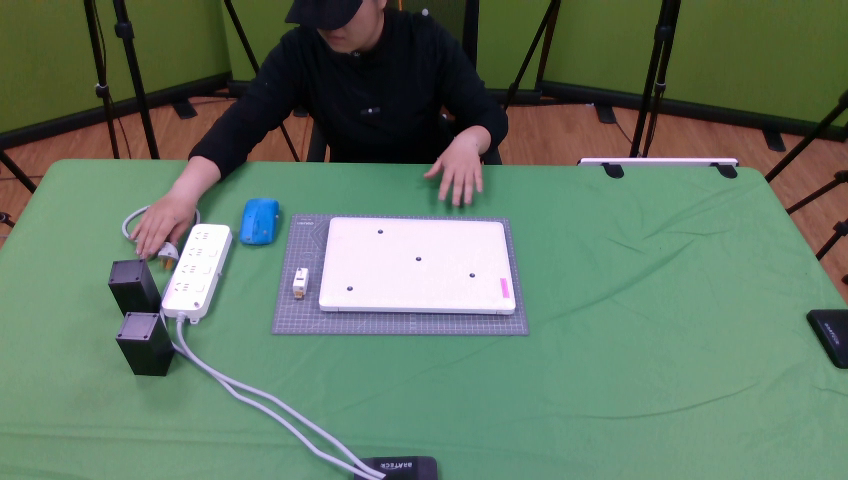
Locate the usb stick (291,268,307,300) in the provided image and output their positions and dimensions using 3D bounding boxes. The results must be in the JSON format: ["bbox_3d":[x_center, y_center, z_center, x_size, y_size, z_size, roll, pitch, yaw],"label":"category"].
[{"bbox_3d":[-0.227,0.081,1.094,0.021,0.027,0.059,4,48,-2],"label":"usb stick"}]

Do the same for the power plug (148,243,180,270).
[{"bbox_3d":[-0.486,0.033,1.133,0.072,0.035,0.052,-10,64,34],"label":"power plug"}]

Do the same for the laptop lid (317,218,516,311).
[{"bbox_3d":[-0.013,0.040,1.143,0.357,0.013,0.240,3,43,-2],"label":"laptop lid"}]

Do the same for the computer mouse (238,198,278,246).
[{"bbox_3d":[-0.328,-0.039,1.200,0.063,0.041,0.116,4,50,-4],"label":"computer mouse"}]

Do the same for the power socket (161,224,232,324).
[{"bbox_3d":[-0.412,0.053,1.106,0.072,0.033,0.225,4,46,-1],"label":"power socket"}]

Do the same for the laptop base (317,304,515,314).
[{"bbox_3d":[-0.014,0.050,1.150,0.354,0.023,0.234,1,42,-3],"label":"laptop base"}]
